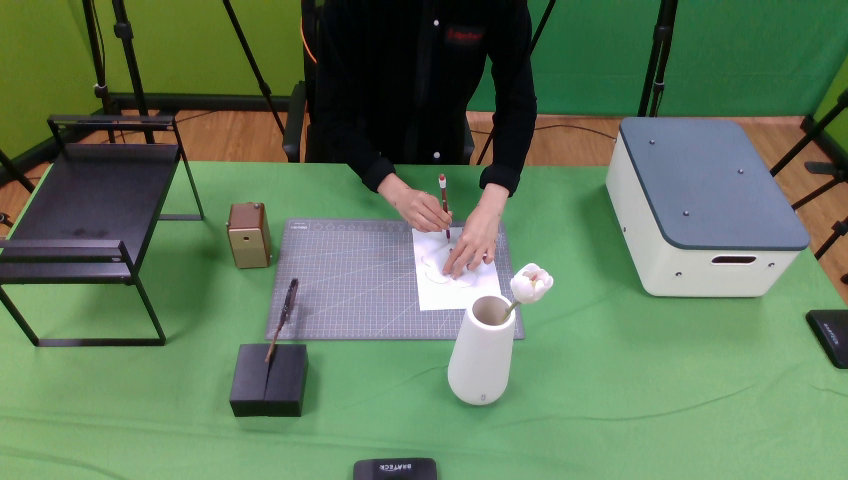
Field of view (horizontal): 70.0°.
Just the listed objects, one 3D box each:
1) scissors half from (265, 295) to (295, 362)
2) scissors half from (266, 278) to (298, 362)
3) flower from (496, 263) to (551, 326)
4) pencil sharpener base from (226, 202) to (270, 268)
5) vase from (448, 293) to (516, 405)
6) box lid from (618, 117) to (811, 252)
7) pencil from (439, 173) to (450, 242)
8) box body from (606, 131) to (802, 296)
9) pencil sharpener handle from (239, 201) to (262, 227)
[{"bbox_3d":[-0.239,0.143,1.005,0.013,0.040,0.174,17,28,-6],"label":"scissors half"},{"bbox_3d":[-0.234,0.127,0.993,0.013,0.040,0.174,12,46,-4],"label":"scissors half"},{"bbox_3d":[0.102,0.121,0.853,0.044,0.363,0.038,-2,64,-10],"label":"flower"},{"bbox_3d":[-0.323,-0.010,1.123,0.061,0.107,0.076,-3,46,-7],"label":"pencil sharpener base"},{"bbox_3d":[0.091,0.169,0.921,0.098,0.201,0.097,3,47,-3],"label":"vase"},{"bbox_3d":[0.534,-0.117,1.148,0.263,0.015,0.369,0,47,-3],"label":"box lid"},{"bbox_3d":[0.040,-0.055,1.129,0.012,0.195,0.012,-4,52,5],"label":"pencil"},{"bbox_3d":[0.530,-0.067,1.204,0.254,0.161,0.361,0,46,-4],"label":"box body"},{"bbox_3d":[-0.325,-0.056,1.150,0.036,0.068,0.030,-13,46,4],"label":"pencil sharpener handle"}]
